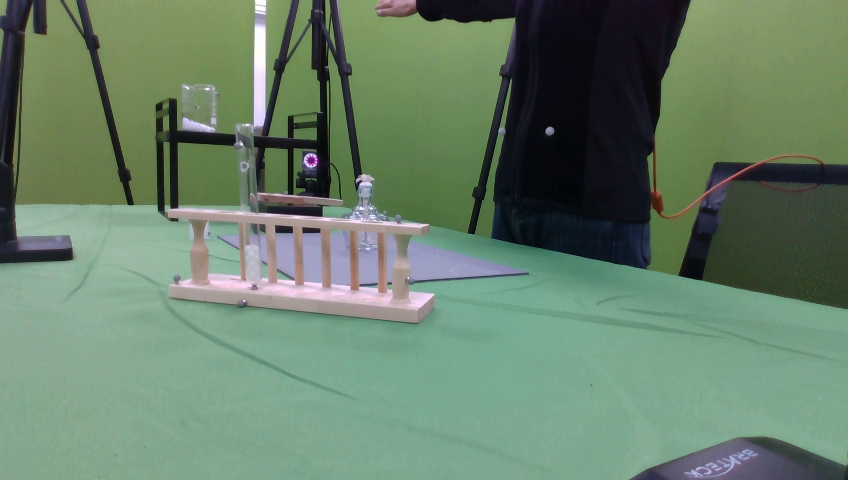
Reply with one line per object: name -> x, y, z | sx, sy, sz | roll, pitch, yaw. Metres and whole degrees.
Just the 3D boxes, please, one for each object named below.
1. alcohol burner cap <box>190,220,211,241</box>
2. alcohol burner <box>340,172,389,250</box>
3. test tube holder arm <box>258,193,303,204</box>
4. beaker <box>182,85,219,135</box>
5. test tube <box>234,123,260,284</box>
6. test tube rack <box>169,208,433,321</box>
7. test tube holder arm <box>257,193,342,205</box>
alcohol burner cap -> -0.365, -0.023, 0.988 | 0.034, 0.048, 0.034 | 2, 7, 0
alcohol burner -> -0.093, -0.045, 0.939 | 0.078, 0.119, 0.078 | 0, 7, 0
test tube holder arm -> -0.270, -0.078, 1.142 | 0.088, 0.015, 0.010 | 2, 23, -39
beaker -> -0.479, -0.276, 1.291 | 0.074, 0.100, 0.084 | 2, 8, -1
test tube -> -0.164, -0.032, 0.562 | 0.017, 0.150, 0.017 | -1, 8, 0
test tube rack -> -0.115, 0.018, 0.574 | 0.242, 0.085, 0.067 | 4, 8, 13
test tube holder arm -> -0.238, -0.079, 1.175 | 0.179, 0.015, 0.013 | 1, 24, -41
